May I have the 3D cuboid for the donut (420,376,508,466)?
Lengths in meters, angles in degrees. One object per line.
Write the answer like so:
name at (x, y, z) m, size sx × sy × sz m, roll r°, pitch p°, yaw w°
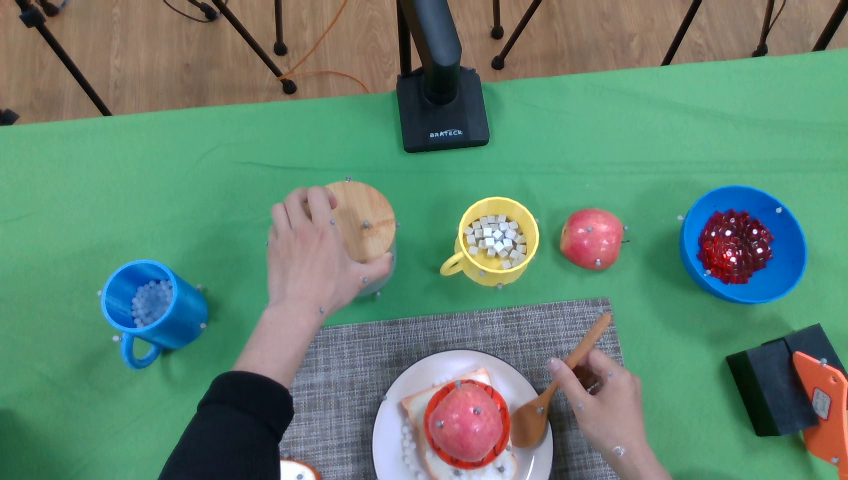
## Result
donut at (0.045, 0.202, 0.677) m, size 0.099 × 0.048 × 0.098 m, roll 1°, pitch 70°, yaw -2°

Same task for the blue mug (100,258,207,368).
blue mug at (-0.315, 0.090, 0.700) m, size 0.082 × 0.106 × 0.116 m, roll 14°, pitch 72°, yaw 3°

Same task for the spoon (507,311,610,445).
spoon at (0.147, 0.155, 0.672) m, size 0.041 × 0.022 × 0.194 m, roll 47°, pitch 119°, yaw 34°

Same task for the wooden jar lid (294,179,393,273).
wooden jar lid at (-0.087, -0.013, 0.666) m, size 0.108 × 0.021 × 0.107 m, roll 0°, pitch 70°, yaw 0°

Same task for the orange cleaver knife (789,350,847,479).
orange cleaver knife at (0.461, 0.229, 0.692) m, size 0.012 × 0.077 × 0.211 m, roll -16°, pitch 94°, yaw -14°

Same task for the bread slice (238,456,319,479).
bread slice at (-0.169, 0.310, 0.676) m, size 0.105 × 0.019 × 0.130 m, roll 1°, pitch 73°, yaw -2°

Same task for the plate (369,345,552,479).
plate at (0.041, 0.228, 0.699) m, size 0.208 × 0.039 × 0.206 m, roll 1°, pitch 72°, yaw -1°

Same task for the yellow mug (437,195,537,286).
yellow mug at (0.074, 0.009, 0.761) m, size 0.131 × 0.064 × 0.099 m, roll -29°, pitch 75°, yaw -10°

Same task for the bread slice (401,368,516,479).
bread slice at (0.047, 0.227, 0.702) m, size 0.107 × 0.018 × 0.133 m, roll -21°, pitch 72°, yaw -8°

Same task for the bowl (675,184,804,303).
bowl at (0.381, 0.013, 0.762) m, size 0.151 × 0.077 × 0.150 m, roll 1°, pitch 72°, yaw -1°

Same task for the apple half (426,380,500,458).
apple half at (0.043, 0.192, 0.644) m, size 0.081 × 0.033 × 0.081 m, roll -1°, pitch 77°, yaw 4°

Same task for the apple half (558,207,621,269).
apple half at (0.215, -0.008, 0.778) m, size 0.074 × 0.053 × 0.080 m, roll 15°, pitch 72°, yaw 6°

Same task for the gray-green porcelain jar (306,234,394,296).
gray-green porcelain jar at (-0.088, 0.007, 0.725) m, size 0.106 × 0.127 × 0.105 m, roll 1°, pitch 71°, yaw -1°
